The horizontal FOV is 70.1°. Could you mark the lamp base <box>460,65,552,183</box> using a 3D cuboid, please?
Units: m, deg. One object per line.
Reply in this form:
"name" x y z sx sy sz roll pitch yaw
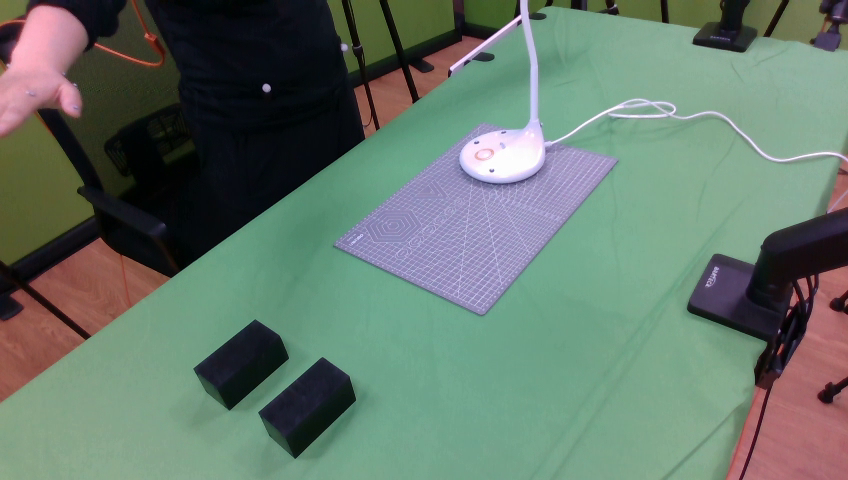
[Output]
"lamp base" 0.149 -0.218 1.078 0.180 0.181 0.159 -19 41 -17
